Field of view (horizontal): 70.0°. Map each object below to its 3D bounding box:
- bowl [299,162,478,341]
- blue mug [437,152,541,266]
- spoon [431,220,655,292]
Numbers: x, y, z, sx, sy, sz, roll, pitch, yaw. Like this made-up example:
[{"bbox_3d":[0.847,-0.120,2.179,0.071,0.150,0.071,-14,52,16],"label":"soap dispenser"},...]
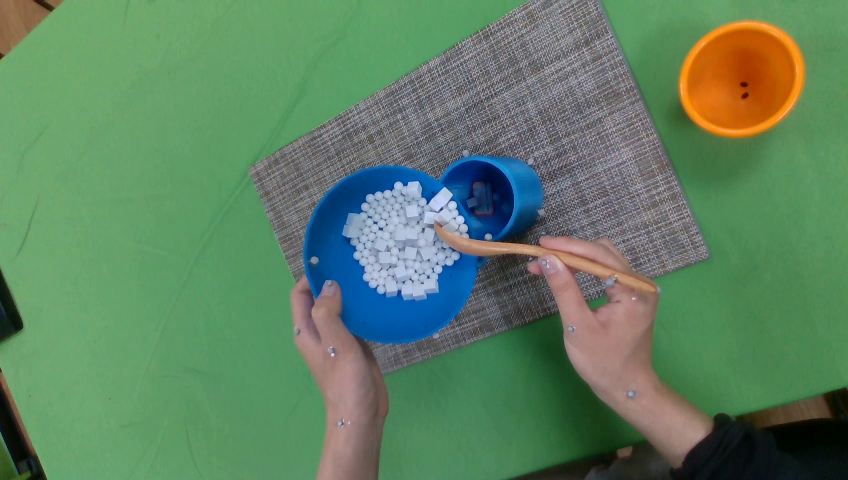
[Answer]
[{"bbox_3d":[-0.036,0.014,0.532,0.152,0.077,0.151,3,82,-16],"label":"bowl"},{"bbox_3d":[0.061,-0.028,0.597,0.082,0.106,0.117,17,103,19],"label":"blue mug"},{"bbox_3d":[0.082,0.010,0.467,0.192,0.042,0.021,12,77,36],"label":"spoon"}]
